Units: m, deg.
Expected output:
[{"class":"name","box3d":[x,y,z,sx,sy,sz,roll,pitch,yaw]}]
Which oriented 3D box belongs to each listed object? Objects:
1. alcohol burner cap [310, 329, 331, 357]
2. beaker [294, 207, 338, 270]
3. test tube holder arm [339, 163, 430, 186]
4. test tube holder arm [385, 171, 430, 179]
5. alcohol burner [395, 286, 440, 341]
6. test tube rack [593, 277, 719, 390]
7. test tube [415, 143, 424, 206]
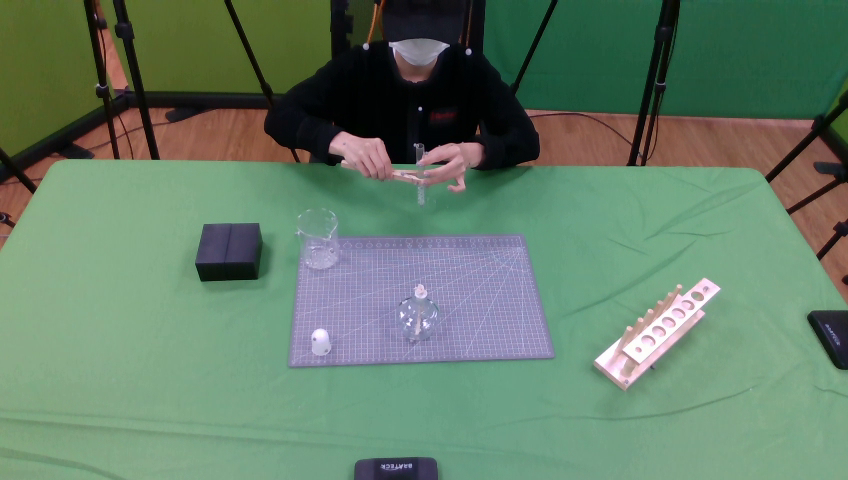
[{"class":"alcohol burner cap","box3d":[-0.173,0.168,1.004,0.034,0.048,0.033,2,46,-2]},{"class":"beaker","box3d":[-0.196,0.003,1.123,0.074,0.101,0.083,-23,53,-24]},{"class":"test tube holder arm","box3d":[-0.076,-0.127,1.172,0.178,0.015,0.013,10,44,2]},{"class":"test tube holder arm","box3d":[-0.032,-0.127,1.177,0.088,0.015,0.010,-1,46,-8]},{"class":"alcohol burner","box3d":[-0.010,0.116,1.018,0.078,0.119,0.077,3,47,-3]},{"class":"test tube rack","box3d":[0.401,0.148,1.043,0.242,0.085,0.066,-30,55,-29]},{"class":"test tube","box3d":[-0.008,-0.123,1.169,0.017,0.151,0.017,0,46,0]}]
